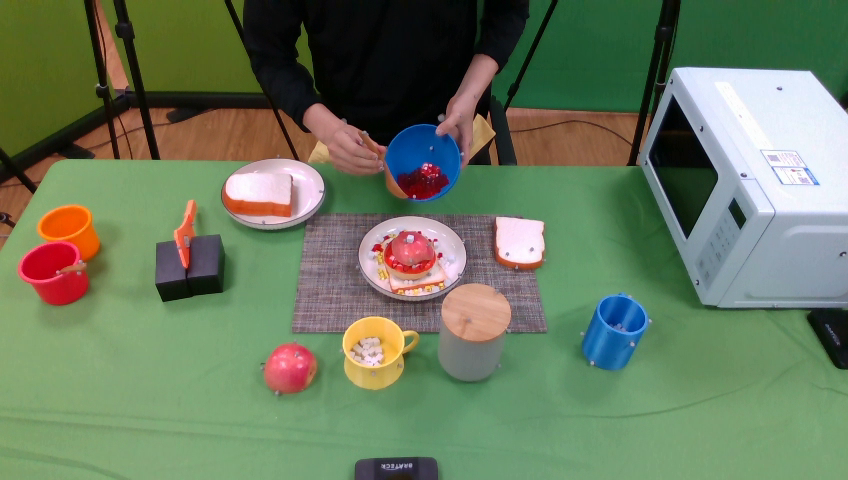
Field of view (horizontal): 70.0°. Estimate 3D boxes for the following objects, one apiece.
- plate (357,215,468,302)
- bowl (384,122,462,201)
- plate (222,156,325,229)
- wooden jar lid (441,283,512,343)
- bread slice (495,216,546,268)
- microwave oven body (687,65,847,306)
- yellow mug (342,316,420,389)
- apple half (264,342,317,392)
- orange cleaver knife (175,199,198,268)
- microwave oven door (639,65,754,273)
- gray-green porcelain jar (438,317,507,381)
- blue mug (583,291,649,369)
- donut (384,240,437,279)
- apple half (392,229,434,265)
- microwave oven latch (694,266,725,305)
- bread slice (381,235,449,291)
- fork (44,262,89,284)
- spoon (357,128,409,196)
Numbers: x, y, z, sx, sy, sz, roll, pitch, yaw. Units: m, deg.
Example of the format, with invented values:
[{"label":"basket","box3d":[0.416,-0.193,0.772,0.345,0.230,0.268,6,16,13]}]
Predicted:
[{"label":"plate","box3d":[-0.022,0.037,1.141,0.208,0.039,0.206,2,46,-2]},{"label":"bowl","box3d":[0.006,-0.143,1.164,0.151,0.077,0.151,-2,83,14]},{"label":"plate","box3d":[-0.308,-0.095,1.251,0.209,0.038,0.208,3,47,-3]},{"label":"wooden jar lid","box3d":[0.080,0.114,0.931,0.108,0.021,0.107,1,49,0]},{"label":"bread slice","box3d":[0.194,0.002,1.205,0.105,0.019,0.131,5,45,2]},{"label":"microwave oven body","box3d":[0.669,-0.111,1.176,0.326,0.261,0.439,0,46,-3]},{"label":"yellow mug","box3d":[-0.067,0.178,0.991,0.131,0.064,0.099,-16,50,-19]},{"label":"apple half","box3d":[-0.214,0.198,0.970,0.074,0.053,0.080,19,48,10]},{"label":"orange cleaver knife","box3d":[-0.438,-0.017,1.138,0.012,0.077,0.210,-14,27,-7]},{"label":"microwave oven door","box3d":[0.522,-0.147,1.192,0.039,0.245,0.353,0,47,-3]},{"label":"gray-green porcelain jar","box3d":[0.076,0.158,0.977,0.106,0.127,0.105,2,47,-2]},{"label":"blue mug","box3d":[0.324,0.142,1.023,0.082,0.106,0.116,15,47,11]},{"label":"donut","box3d":[-0.025,0.029,1.110,0.099,0.048,0.098,3,46,-3]},{"label":"apple half","box3d":[-0.021,0.004,1.083,0.081,0.033,0.081,6,49,-7]},{"label":"microwave oven latch","box3d":[0.523,0.082,1.115,0.030,0.029,0.078,3,46,0]},{"label":"bread slice","box3d":[-0.027,0.038,1.139,0.107,0.018,0.133,-12,47,-15]},{"label":"fork","box3d":[-0.598,0.054,1.014,0.207,0.019,0.028,-15,29,45]},{"label":"spoon","box3d":[-0.072,-0.132,1.050,0.041,0.195,0.021,26,70,34]}]
